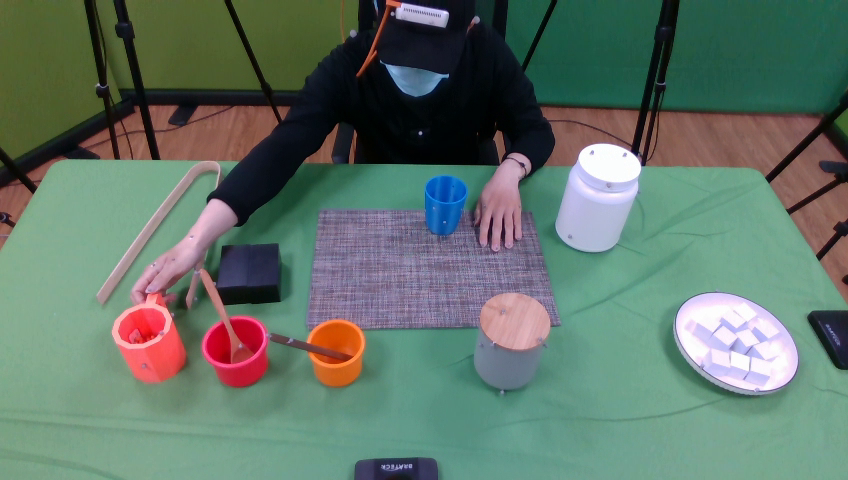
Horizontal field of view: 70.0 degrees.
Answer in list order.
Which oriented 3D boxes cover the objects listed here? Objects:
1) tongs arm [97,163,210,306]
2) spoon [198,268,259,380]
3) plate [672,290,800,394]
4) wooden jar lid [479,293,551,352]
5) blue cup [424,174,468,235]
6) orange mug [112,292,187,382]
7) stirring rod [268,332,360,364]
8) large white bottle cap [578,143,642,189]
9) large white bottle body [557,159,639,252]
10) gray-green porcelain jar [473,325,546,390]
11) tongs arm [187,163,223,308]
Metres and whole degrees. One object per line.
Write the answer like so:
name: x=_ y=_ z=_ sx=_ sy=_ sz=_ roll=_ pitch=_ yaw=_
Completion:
tongs arm: x=-0.520 y=-0.026 z=1.184 sx=0.028 sy=0.028 sz=0.385 roll=4 pitch=45 yaw=13
spoon: x=-0.312 y=0.132 z=0.962 sx=0.041 sy=0.021 sz=0.194 roll=-24 pitch=96 yaw=-22
plate: x=0.533 y=0.179 z=1.050 sx=0.208 sy=0.039 sz=0.206 roll=2 pitch=46 yaw=-2
wooden jar lid: x=0.138 y=0.127 z=0.925 sx=0.108 sy=0.021 sz=0.107 roll=1 pitch=47 yaw=-1
blue cup: x=0.039 y=-0.064 z=1.201 sx=0.093 sy=0.101 sz=0.092 roll=3 pitch=46 yaw=-3
orange mug: x=-0.433 y=0.148 z=0.969 sx=0.083 sy=0.101 sz=0.125 roll=-2 pitch=50 yaw=-6
stirring rod: x=-0.167 y=0.169 z=0.941 sx=0.177 sy=0.006 sz=0.014 roll=26 pitch=26 yaw=-41
large white bottle cap: x=0.344 y=-0.139 z=1.123 sx=0.115 sy=0.018 sz=0.114 roll=2 pitch=46 yaw=-2
large white bottle body: x=0.340 y=-0.081 z=1.184 sx=0.131 sy=0.185 sz=0.130 roll=2 pitch=46 yaw=-1
gray-green porcelain jar: x=0.135 y=0.170 z=0.969 sx=0.106 sy=0.127 sz=0.105 roll=2 pitch=46 yaw=-2
tongs arm: x=-0.436 y=-0.024 z=1.181 sx=0.051 sy=0.027 sz=0.382 roll=-3 pitch=45 yaw=0
